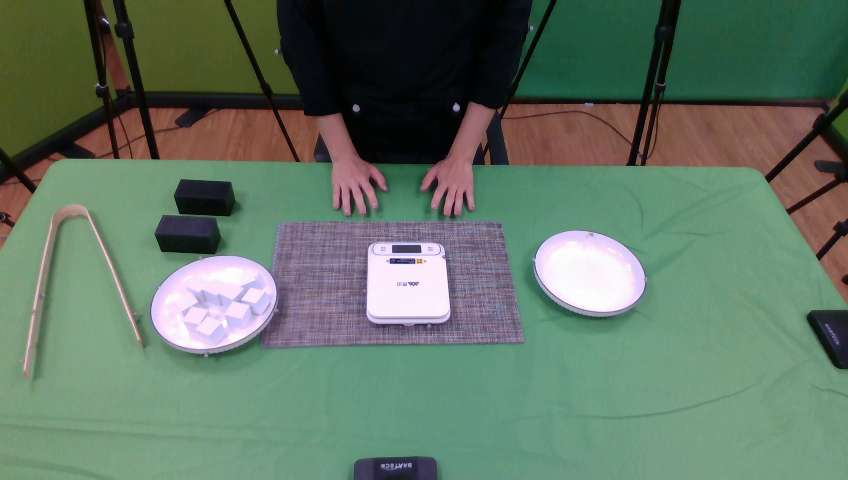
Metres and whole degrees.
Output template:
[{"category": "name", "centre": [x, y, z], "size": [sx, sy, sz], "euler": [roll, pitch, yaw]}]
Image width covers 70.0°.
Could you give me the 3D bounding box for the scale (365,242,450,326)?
[{"category": "scale", "centre": [-0.032, 0.071, 1.113], "size": [0.149, 0.032, 0.199], "euler": [0, 46, -4]}]

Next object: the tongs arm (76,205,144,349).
[{"category": "tongs arm", "centre": [-0.570, 0.054, 1.098], "size": [0.028, 0.028, 0.385], "euler": [-25, 53, -23]}]

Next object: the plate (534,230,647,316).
[{"category": "plate", "centre": [0.310, 0.065, 1.145], "size": [0.209, 0.038, 0.208], "euler": [2, 45, -2]}]

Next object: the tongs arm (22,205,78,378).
[{"category": "tongs arm", "centre": [-0.652, 0.073, 1.067], "size": [0.051, 0.026, 0.382], "euler": [-10, 46, -15]}]

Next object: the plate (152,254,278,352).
[{"category": "plate", "centre": [-0.357, 0.111, 1.052], "size": [0.208, 0.039, 0.206], "euler": [2, 46, -2]}]
